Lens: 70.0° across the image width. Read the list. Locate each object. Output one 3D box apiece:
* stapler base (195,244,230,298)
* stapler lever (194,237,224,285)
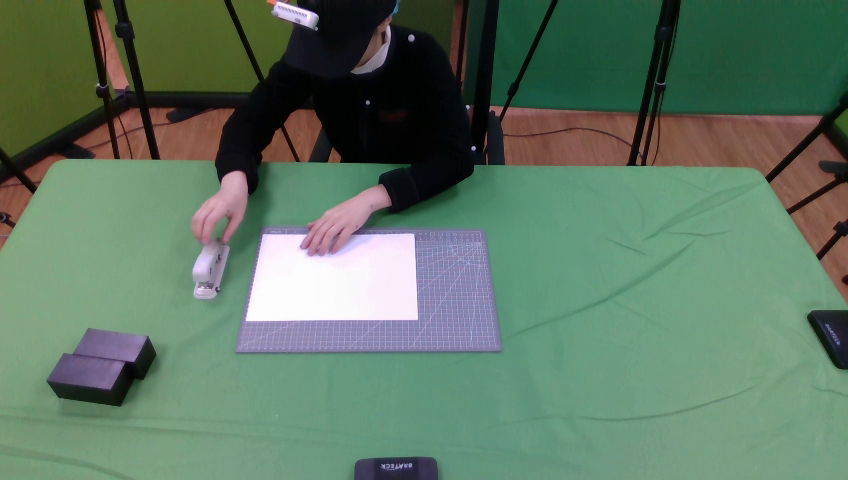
[{"bbox_3d":[-0.391,0.050,1.118,0.041,0.024,0.129,2,45,-5],"label":"stapler base"},{"bbox_3d":[-0.390,0.031,1.101,0.027,0.040,0.117,2,44,-5],"label":"stapler lever"}]
